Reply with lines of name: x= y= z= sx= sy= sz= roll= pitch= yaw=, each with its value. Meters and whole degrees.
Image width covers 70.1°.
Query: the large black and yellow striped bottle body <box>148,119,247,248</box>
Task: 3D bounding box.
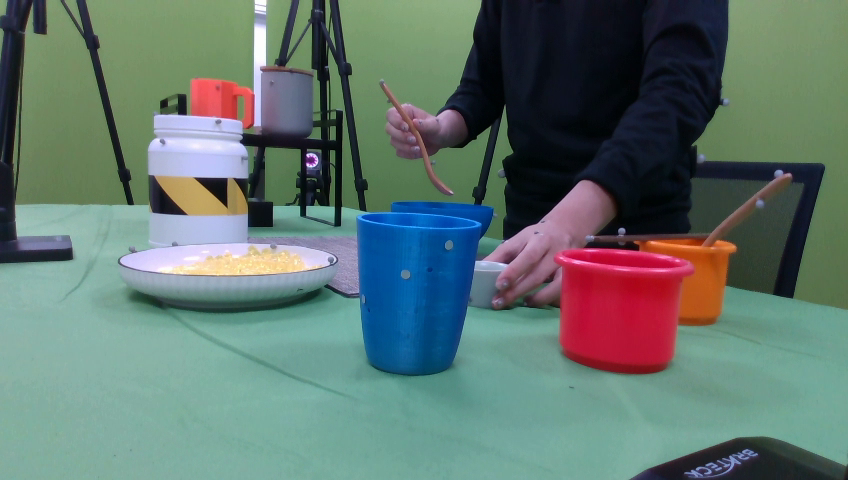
large black and yellow striped bottle body: x=-0.318 y=-0.076 z=0.855 sx=0.131 sy=0.184 sz=0.130 roll=2 pitch=7 yaw=0

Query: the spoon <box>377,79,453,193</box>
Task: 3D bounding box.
spoon: x=-0.012 y=-0.148 z=0.873 sx=0.021 sy=0.194 sz=0.041 roll=-27 pitch=12 yaw=9

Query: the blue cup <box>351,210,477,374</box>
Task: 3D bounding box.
blue cup: x=-0.009 y=0.034 z=0.414 sx=0.093 sy=0.100 sz=0.092 roll=4 pitch=8 yaw=0

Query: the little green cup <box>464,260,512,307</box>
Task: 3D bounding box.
little green cup: x=0.057 y=0.043 z=0.612 sx=0.061 sy=0.038 sz=0.061 roll=5 pitch=6 yaw=0

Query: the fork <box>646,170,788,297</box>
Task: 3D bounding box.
fork: x=0.256 y=0.004 z=0.543 sx=0.028 sy=0.018 sz=0.207 roll=3 pitch=-36 yaw=-9

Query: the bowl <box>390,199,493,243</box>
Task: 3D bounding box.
bowl: x=0.023 y=-0.016 z=0.874 sx=0.151 sy=0.077 sz=0.151 roll=3 pitch=7 yaw=0

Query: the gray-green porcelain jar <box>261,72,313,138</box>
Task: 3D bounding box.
gray-green porcelain jar: x=-0.284 y=-0.276 z=1.253 sx=0.106 sy=0.126 sz=0.106 roll=2 pitch=8 yaw=0

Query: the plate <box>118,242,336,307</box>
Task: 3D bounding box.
plate: x=-0.194 y=0.033 z=0.615 sx=0.209 sy=0.038 sz=0.209 roll=2 pitch=7 yaw=0

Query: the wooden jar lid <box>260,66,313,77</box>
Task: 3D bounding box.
wooden jar lid: x=-0.283 y=-0.339 z=1.244 sx=0.108 sy=0.020 sz=0.108 roll=6 pitch=9 yaw=-1

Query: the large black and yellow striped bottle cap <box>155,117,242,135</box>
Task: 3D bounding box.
large black and yellow striped bottle cap: x=-0.313 y=-0.159 z=0.845 sx=0.115 sy=0.019 sz=0.115 roll=3 pitch=9 yaw=0

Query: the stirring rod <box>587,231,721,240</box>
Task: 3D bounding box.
stirring rod: x=0.227 y=-0.005 z=0.586 sx=0.177 sy=0.006 sz=0.014 roll=-1 pitch=7 yaw=-29

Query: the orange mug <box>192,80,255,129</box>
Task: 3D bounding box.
orange mug: x=-0.389 y=-0.257 z=1.172 sx=0.126 sy=0.100 sz=0.083 roll=-1 pitch=6 yaw=9
